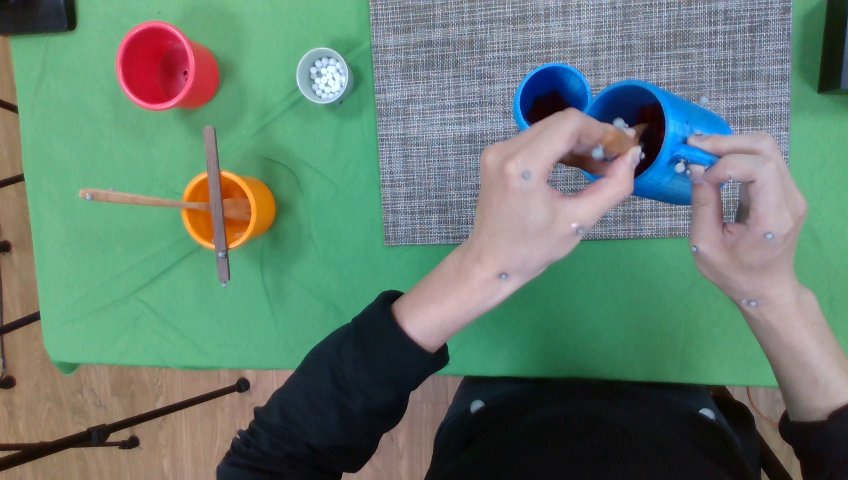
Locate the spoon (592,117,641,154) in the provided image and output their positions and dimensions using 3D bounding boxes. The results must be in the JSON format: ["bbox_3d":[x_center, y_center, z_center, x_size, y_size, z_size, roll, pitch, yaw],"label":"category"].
[{"bbox_3d":[0.134,-0.072,0.421,0.041,0.194,0.021,-40,86,21],"label":"spoon"}]

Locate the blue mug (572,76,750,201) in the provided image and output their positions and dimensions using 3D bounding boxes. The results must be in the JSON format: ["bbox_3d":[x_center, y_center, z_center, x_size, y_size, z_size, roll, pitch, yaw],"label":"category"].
[{"bbox_3d":[0.193,-0.072,0.471,0.115,0.106,0.082,31,109,46],"label":"blue mug"}]

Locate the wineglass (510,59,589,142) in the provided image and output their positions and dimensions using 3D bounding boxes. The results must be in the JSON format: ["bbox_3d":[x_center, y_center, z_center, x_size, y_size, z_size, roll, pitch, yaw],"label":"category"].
[{"bbox_3d":[0.122,-0.132,0.598,0.073,0.172,0.074,1,97,10],"label":"wineglass"}]

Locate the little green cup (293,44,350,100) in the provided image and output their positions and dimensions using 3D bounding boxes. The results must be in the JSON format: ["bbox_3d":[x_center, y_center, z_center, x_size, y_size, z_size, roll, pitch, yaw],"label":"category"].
[{"bbox_3d":[-0.116,-0.192,0.701,0.061,0.038,0.061,1,98,10],"label":"little green cup"}]

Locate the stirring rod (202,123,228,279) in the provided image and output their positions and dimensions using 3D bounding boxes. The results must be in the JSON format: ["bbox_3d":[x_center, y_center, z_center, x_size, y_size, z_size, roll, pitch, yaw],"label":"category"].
[{"bbox_3d":[-0.236,-0.043,0.683,0.014,0.006,0.176,-2,97,10],"label":"stirring rod"}]

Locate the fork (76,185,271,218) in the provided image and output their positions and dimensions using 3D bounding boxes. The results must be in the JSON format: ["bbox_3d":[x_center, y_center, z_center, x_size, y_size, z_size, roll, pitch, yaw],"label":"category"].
[{"bbox_3d":[-0.278,-0.045,0.692,0.209,0.018,0.028,4,108,-35],"label":"fork"}]
